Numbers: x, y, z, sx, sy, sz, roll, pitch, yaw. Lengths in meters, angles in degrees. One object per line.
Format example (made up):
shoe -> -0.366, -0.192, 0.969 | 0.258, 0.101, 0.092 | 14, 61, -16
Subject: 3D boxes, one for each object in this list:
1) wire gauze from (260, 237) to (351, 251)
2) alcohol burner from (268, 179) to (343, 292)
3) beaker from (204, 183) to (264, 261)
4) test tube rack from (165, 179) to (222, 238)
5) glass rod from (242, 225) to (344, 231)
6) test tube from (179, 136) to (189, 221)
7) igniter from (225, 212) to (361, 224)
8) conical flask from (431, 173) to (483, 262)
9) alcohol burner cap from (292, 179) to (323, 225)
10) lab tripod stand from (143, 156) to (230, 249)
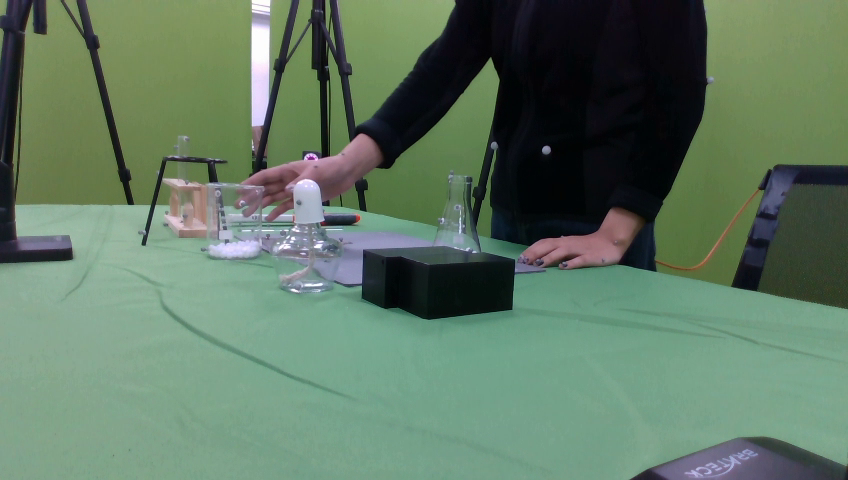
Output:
wire gauze -> -0.184, 0.004, 0.938 | 0.122, 0.011, 0.124 | -1, 5, -24
alcohol burner -> -0.124, -0.005, 0.637 | 0.078, 0.119, 0.078 | 4, 8, 0
beaker -> -0.254, -0.026, 0.817 | 0.073, 0.100, 0.084 | 9, 9, 39
test tube rack -> -0.423, -0.062, 1.098 | 0.067, 0.085, 0.241 | -2, 9, -28
glass rod -> -0.246, -0.024, 1.155 | 0.201, 0.008, 0.008 | -3, 8, -31
test tube -> -0.425, -0.108, 1.070 | 0.017, 0.150, 0.017 | 4, 9, 0
igniter -> -0.262, -0.044, 1.240 | 0.278, 0.025, 0.057 | -2, -1, -31
conical flask -> 0.049, -0.033, 0.857 | 0.075, 0.122, 0.075 | 2, 7, 0
alcohol burner cap -> -0.124, -0.040, 0.632 | 0.034, 0.048, 0.034 | -3, 10, 1
lab tripod stand -> -0.338, -0.058, 0.908 | 0.148, 0.131, 0.148 | 4, 7, 0
